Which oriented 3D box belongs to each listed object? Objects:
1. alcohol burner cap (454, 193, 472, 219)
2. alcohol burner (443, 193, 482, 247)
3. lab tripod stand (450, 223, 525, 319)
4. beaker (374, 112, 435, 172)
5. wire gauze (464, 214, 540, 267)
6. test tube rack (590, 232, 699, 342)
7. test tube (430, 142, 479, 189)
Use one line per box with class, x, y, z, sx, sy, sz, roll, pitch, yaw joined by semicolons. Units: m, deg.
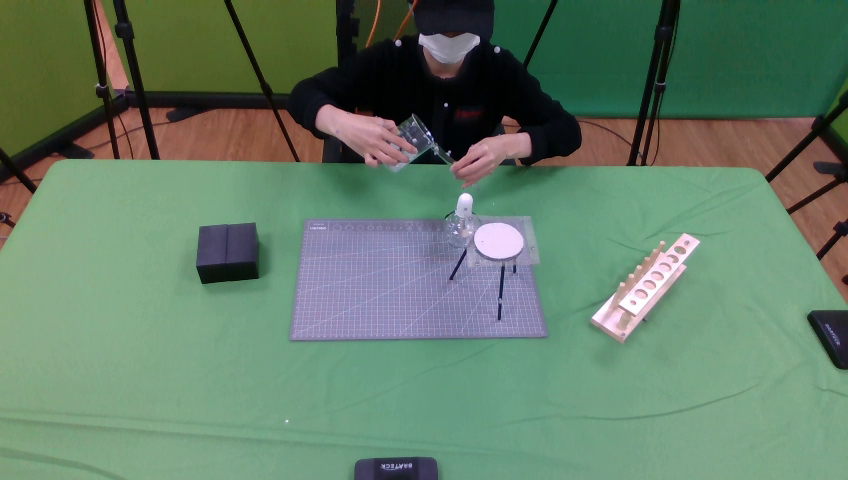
alcohol burner cap;0.076;-0.068;1.151;0.034;0.048;0.033;4;46;-4
alcohol burner;0.075;-0.044;1.177;0.078;0.120;0.077;2;44;-2
lab tripod stand;0.120;0.046;1.080;0.148;0.132;0.147;1;47;-1
beaker;-0.038;-0.182;1.159;0.100;0.084;0.073;-36;36;14
wire gauze;0.131;-0.002;1.034;0.121;0.011;0.124;1;45;-2
test tube rack;0.407;0.074;1.112;0.066;0.085;0.242;35;53;26
test tube;0.064;-0.148;1.217;0.017;0.151;0.017;-26;45;29
